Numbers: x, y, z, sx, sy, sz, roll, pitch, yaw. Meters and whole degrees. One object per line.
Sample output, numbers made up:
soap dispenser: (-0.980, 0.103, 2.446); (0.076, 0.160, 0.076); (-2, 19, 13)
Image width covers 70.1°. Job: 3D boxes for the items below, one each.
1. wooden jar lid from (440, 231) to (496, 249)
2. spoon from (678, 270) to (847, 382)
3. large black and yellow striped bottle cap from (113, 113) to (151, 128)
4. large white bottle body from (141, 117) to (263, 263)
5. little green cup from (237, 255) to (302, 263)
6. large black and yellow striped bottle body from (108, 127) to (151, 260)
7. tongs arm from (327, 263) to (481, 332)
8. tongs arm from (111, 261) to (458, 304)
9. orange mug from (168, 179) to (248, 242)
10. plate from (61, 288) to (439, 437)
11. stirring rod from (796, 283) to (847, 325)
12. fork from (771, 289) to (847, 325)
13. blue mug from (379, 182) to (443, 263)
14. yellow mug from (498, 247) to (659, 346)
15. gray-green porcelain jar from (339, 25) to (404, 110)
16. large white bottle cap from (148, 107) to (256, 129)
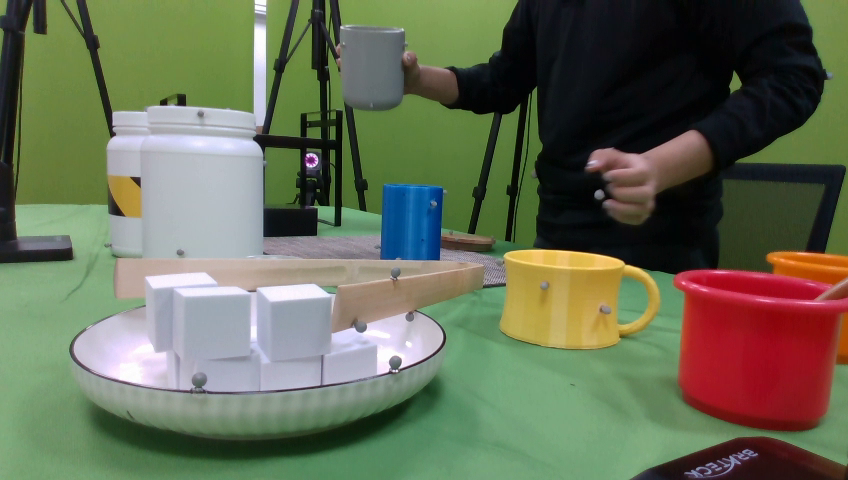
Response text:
wooden jar lid: (0.066, 0.000, 1.011); (0.108, 0.020, 0.108); (6, 6, 0)
spoon: (0.229, 0.031, 0.338); (0.193, 0.021, 0.042); (-44, -17, 27)
large black and yellow striped bottle cap: (-0.348, -0.154, 0.800); (0.115, 0.019, 0.115); (2, 6, 0)
large white bottle body: (-0.254, -0.054, 0.697); (0.131, 0.184, 0.130); (2, 7, 0)
little green cup: (-0.150, 0.038, 0.590); (0.061, 0.038, 0.061); (3, 6, 0)
large black and yellow striped bottle body: (-0.350, -0.071, 0.812); (0.131, 0.184, 0.130); (2, 7, 0)
tongs arm: (-0.003, 0.036, 0.493); (0.050, 0.026, 0.386); (1, 0, 19)
tongs arm: (-0.080, 0.032, 0.527); (0.028, 0.027, 0.389); (-3, -3, 33)
orange mug: (-0.351, -0.050, 0.986); (0.126, 0.101, 0.083); (-3, 9, -9)
plate: (-0.095, 0.069, 0.362); (0.208, 0.039, 0.207); (3, 7, 0)
stirring rod: (0.346, 0.019, 0.460); (0.014, 0.176, 0.006); (-16, 59, -26)
fork: (0.335, 0.018, 0.443); (0.028, 0.018, 0.207); (-1, -36, -20)
blue mug: (-0.020, -0.026, 0.833); (0.082, 0.106, 0.116); (1, 7, -7)
yellow mug: (0.130, 0.045, 0.508); (0.131, 0.064, 0.100); (4, 7, 6)
gray-green porcelain jar: (-0.087, -0.286, 1.003); (0.106, 0.126, 0.105); (2, 23, -1)
large white bottle cap: (-0.250, -0.137, 0.686); (0.115, 0.018, 0.115); (2, 8, 0)
